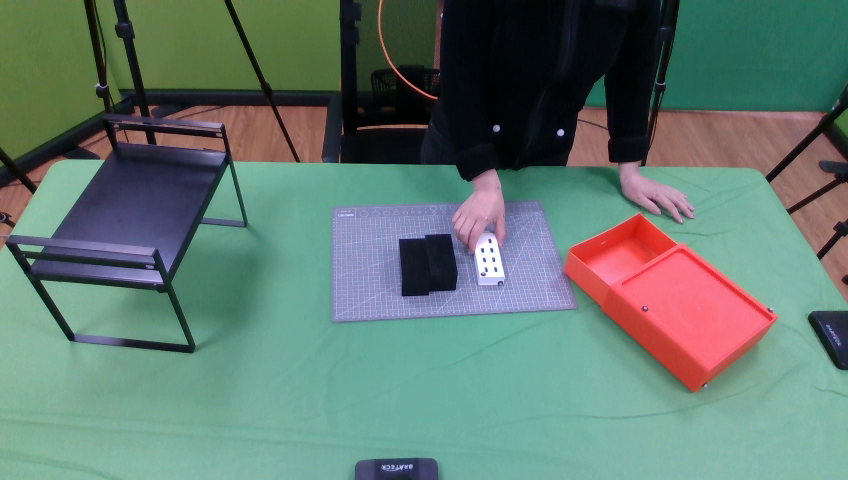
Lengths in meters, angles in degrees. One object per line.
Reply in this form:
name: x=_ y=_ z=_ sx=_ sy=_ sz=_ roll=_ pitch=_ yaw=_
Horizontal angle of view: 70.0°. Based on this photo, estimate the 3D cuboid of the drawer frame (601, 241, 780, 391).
drawer frame: x=0.462 y=0.125 z=1.065 sx=0.202 sy=0.083 sz=0.212 roll=-26 pitch=54 yaw=-26

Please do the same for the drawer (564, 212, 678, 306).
drawer: x=0.404 y=0.064 z=1.124 sx=0.194 sy=0.073 sz=0.210 roll=-24 pitch=52 yaw=-25

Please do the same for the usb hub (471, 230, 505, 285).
usb hub: x=0.121 y=0.032 z=1.168 sx=0.049 sy=0.025 sz=0.124 roll=-2 pitch=46 yaw=-4
